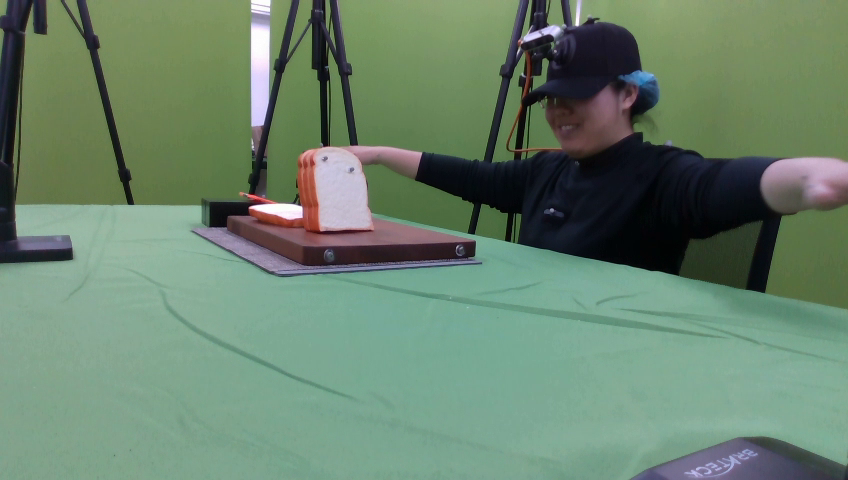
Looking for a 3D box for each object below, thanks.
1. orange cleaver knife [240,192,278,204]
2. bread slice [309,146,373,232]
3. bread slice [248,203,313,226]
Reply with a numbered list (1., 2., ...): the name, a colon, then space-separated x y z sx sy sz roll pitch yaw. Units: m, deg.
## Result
1. orange cleaver knife: -0.268 -0.064 1.235 0.212 0.012 0.077 17 -2 -26
2. bread slice: -0.133 -0.077 0.928 0.018 0.134 0.107 -13 -4 43
3. bread slice: -0.228 -0.043 1.022 0.131 0.019 0.105 14 14 37
